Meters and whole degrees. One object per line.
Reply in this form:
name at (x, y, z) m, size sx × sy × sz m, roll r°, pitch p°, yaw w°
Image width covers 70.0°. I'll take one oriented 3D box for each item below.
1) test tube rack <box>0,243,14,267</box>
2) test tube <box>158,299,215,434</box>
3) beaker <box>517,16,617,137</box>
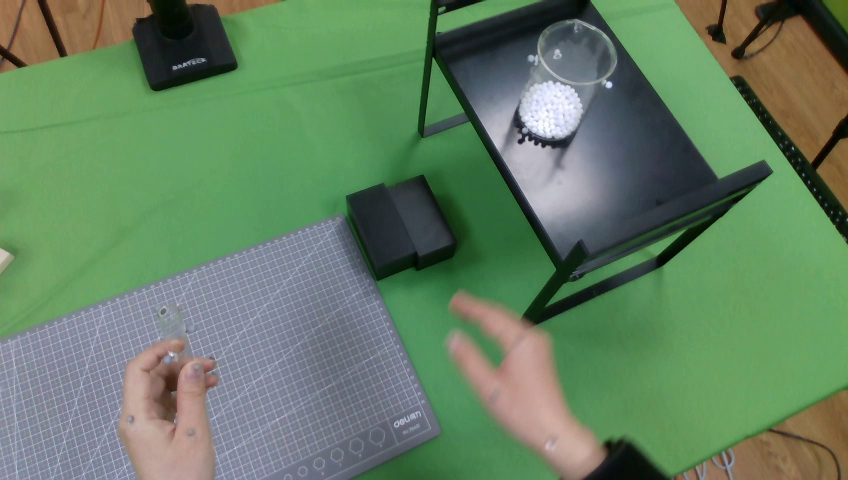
test tube rack at (-0.566, 0.079, 0.636) m, size 0.066 × 0.085 × 0.241 m, roll 27°, pitch 68°, yaw 7°
test tube at (-0.182, 0.104, 0.471) m, size 0.017 × 0.151 × 0.017 m, roll 2°, pitch 39°, yaw -2°
beaker at (0.136, -0.158, 0.599) m, size 0.074 × 0.101 × 0.083 m, roll 9°, pitch 66°, yaw -2°
